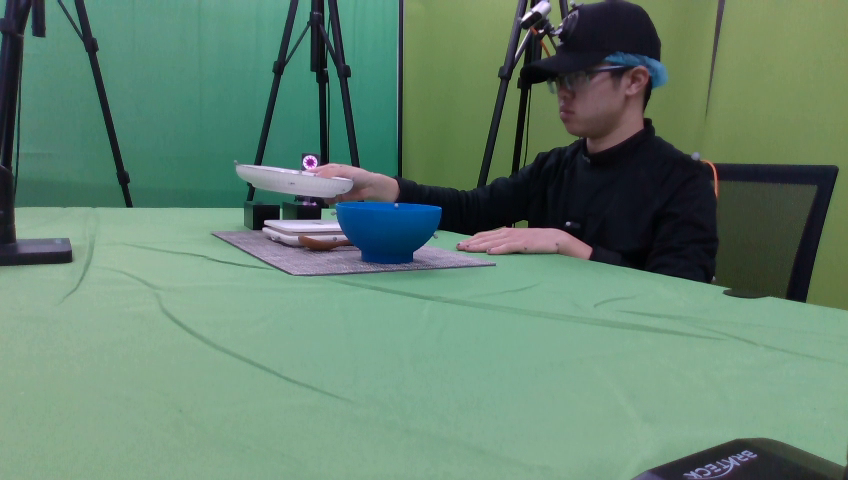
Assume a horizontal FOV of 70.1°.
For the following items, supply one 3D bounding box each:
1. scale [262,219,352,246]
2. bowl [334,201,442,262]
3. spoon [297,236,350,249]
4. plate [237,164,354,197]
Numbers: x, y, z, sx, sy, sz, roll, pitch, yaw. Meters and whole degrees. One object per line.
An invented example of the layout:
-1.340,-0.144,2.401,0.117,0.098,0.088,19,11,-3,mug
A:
-0.160,-0.015,1.028,0.202,0.031,0.148,-2,8,-32,scale
-0.051,-0.012,0.848,0.151,0.077,0.151,2,7,0,bowl
-0.103,0.002,0.943,0.195,0.021,0.041,-2,-6,-30,spoon
-0.234,-0.107,1.103,0.209,0.038,0.209,8,6,-1,plate
